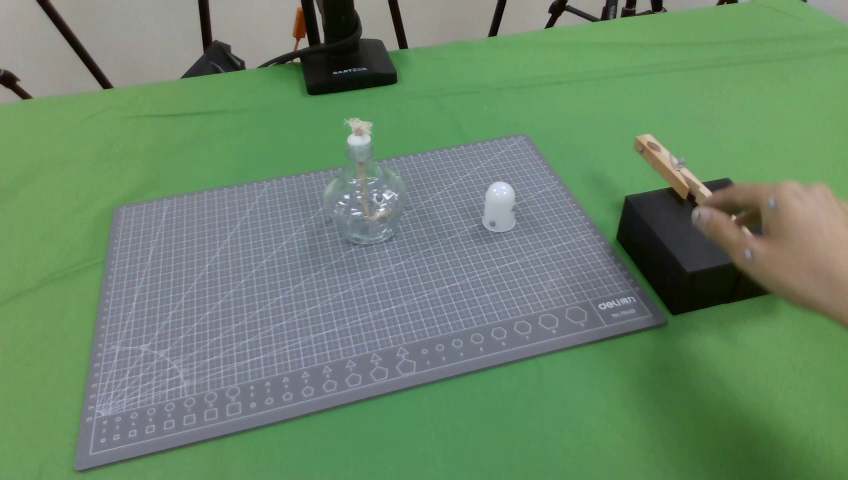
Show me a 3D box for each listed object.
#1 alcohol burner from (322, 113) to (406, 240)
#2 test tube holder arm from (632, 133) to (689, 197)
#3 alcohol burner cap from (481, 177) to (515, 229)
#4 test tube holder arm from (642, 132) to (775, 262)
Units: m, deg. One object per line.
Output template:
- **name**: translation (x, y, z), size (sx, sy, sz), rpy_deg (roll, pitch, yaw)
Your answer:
- **alcohol burner**: translation (-0.056, -0.059, 0.547), size (0.078, 0.120, 0.077), rpy_deg (-2, 41, 2)
- **test tube holder arm**: translation (0.219, -0.070, 0.556), size (0.010, 0.015, 0.087), rpy_deg (-21, 45, -5)
- **alcohol burner cap**: translation (0.071, -0.036, 0.572), size (0.034, 0.048, 0.033), rpy_deg (-1, 42, 2)
- **test tube holder arm**: translation (0.238, -0.044, 0.525), size (0.013, 0.015, 0.176), rpy_deg (-21, 45, -6)
